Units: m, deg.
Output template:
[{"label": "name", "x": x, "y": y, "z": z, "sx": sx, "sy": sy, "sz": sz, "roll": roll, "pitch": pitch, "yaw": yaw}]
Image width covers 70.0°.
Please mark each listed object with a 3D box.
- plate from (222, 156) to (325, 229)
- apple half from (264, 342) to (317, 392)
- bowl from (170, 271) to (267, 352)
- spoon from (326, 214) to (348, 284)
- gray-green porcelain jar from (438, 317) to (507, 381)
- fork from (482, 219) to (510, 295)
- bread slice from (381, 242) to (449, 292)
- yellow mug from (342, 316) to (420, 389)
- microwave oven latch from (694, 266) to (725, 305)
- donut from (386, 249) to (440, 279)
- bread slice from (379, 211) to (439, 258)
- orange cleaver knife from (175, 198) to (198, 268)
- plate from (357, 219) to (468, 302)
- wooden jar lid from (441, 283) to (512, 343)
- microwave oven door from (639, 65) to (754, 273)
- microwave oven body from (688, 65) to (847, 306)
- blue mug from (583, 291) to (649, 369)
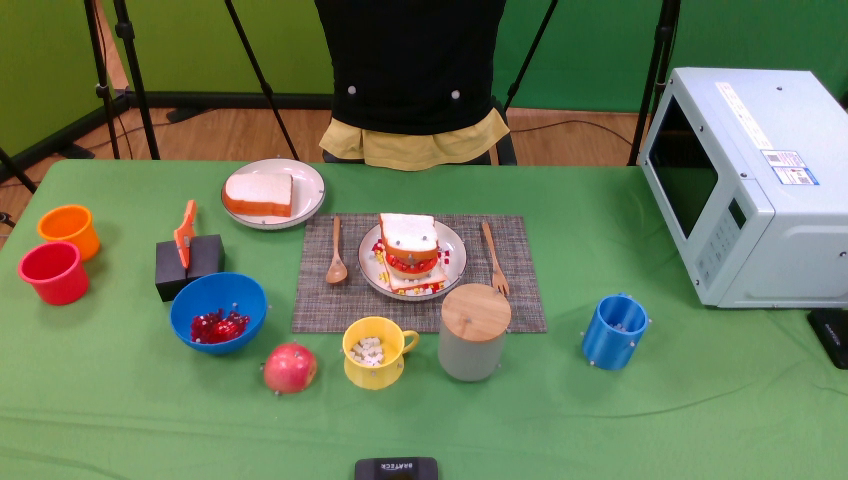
[{"label": "plate", "x": -0.308, "y": -0.095, "z": 1.251, "sx": 0.209, "sy": 0.038, "sz": 0.208, "roll": 2, "pitch": 47, "yaw": -2}, {"label": "apple half", "x": -0.214, "y": 0.198, "z": 0.970, "sx": 0.074, "sy": 0.053, "sz": 0.080, "roll": 19, "pitch": 48, "yaw": 11}, {"label": "bowl", "x": -0.333, "y": 0.132, "z": 1.006, "sx": 0.151, "sy": 0.077, "sz": 0.150, "roll": 2, "pitch": 46, "yaw": -2}, {"label": "spoon", "x": -0.167, "y": 0.013, "z": 1.164, "sx": 0.041, "sy": 0.022, "sz": 0.192, "roll": -19, "pitch": 47, "yaw": 11}, {"label": "gray-green porcelain jar", "x": 0.076, "y": 0.158, "z": 0.977, "sx": 0.106, "sy": 0.127, "sz": 0.105, "roll": 2, "pitch": 47, "yaw": -2}, {"label": "fork", "x": 0.136, "y": 0.029, "z": 1.173, "sx": 0.028, "sy": 0.019, "sz": 0.206, "roll": -10, "pitch": 48, "yaw": 2}, {"label": "bread slice", "x": -0.026, "y": 0.039, "z": 1.139, "sx": 0.107, "sy": 0.018, "sz": 0.133, "roll": -12, "pitch": 47, "yaw": -16}, {"label": "yellow mug", "x": -0.067, "y": 0.177, "z": 0.990, "sx": 0.131, "sy": 0.064, "sz": 0.099, "roll": -16, "pitch": 50, "yaw": -19}, {"label": "microwave oven latch", "x": 0.523, "y": 0.082, "z": 1.115, "sx": 0.030, "sy": 0.029, "sz": 0.078, "roll": 3, "pitch": 46, "yaw": 0}, {"label": "donut", "x": -0.021, "y": 0.029, "z": 1.110, "sx": 0.099, "sy": 0.048, "sz": 0.098, "roll": 2, "pitch": 46, "yaw": -2}, {"label": "bread slice", "x": -0.024, "y": -0.012, "z": 1.064, "sx": 0.105, "sy": 0.019, "sz": 0.130, "roll": 3, "pitch": 33, "yaw": -10}, {"label": "orange cleaver knife", "x": -0.438, "y": -0.017, "z": 1.138, "sx": 0.012, "sy": 0.077, "sz": 0.210, "roll": -13, "pitch": 27, "yaw": -7}, {"label": "plate", "x": -0.021, "y": 0.037, "z": 1.141, "sx": 0.208, "sy": 0.039, "sz": 0.206, "roll": 2, "pitch": 46, "yaw": -2}, {"label": "wooden jar lid", "x": 0.080, "y": 0.114, "z": 0.931, "sx": 0.108, "sy": 0.021, "sz": 0.107, "roll": 1, "pitch": 49, "yaw": -1}, {"label": "microwave oven door", "x": 0.522, "y": -0.147, "z": 1.193, "sx": 0.039, "sy": 0.245, "sz": 0.353, "roll": 0, "pitch": 47, "yaw": -3}, {"label": "microwave oven body", "x": 0.669, "y": -0.111, "z": 1.176, "sx": 0.326, "sy": 0.261, "sz": 0.439, "roll": 0, "pitch": 46, "yaw": -3}, {"label": "blue mug", "x": 0.324, "y": 0.142, "z": 1.023, "sx": 0.082, "sy": 0.106, "sz": 0.116, "roll": 15, "pitch": 47, "yaw": 11}]
